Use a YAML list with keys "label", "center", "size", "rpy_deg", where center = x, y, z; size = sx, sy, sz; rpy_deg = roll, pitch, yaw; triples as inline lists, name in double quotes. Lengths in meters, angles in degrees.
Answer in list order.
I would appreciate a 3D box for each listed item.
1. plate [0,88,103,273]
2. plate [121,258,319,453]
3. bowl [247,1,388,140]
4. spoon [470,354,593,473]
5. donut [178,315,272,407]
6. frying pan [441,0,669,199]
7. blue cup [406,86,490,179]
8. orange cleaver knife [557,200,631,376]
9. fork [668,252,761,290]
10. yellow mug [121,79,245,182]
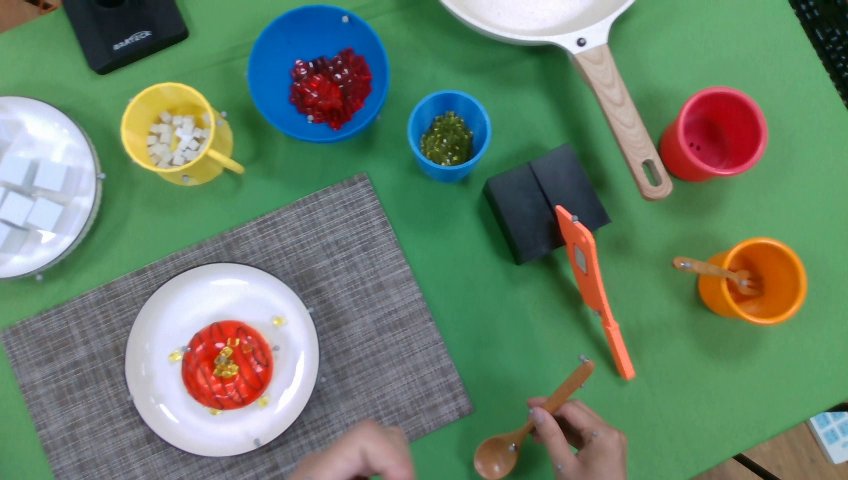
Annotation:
- label: "plate"
  center: [-0.461, -0.065, 0.681]
  size: [0.208, 0.039, 0.207]
  rpy_deg: [0, 84, -1]
- label: "plate"
  center: [-0.217, 0.123, 0.662]
  size: [0.209, 0.038, 0.208]
  rpy_deg: [0, 85, -1]
- label: "bowl"
  center: [-0.113, -0.177, 0.678]
  size: [0.151, 0.077, 0.151]
  rpy_deg: [0, 84, -1]
- label: "spoon"
  center: [0.105, 0.175, 0.601]
  size: [0.041, 0.021, 0.194]
  rpy_deg: [42, 126, 10]
- label: "donut"
  center: [-0.213, 0.130, 0.650]
  size: [0.099, 0.048, 0.099]
  rpy_deg: [0, 88, -2]
- label: "frying pan"
  center: [0.158, -0.266, 0.678]
  size: [0.307, 0.103, 0.485]
  rpy_deg: [-19, 77, -2]
- label: "blue cup"
  center: [0.025, -0.108, 0.661]
  size: [0.092, 0.100, 0.092]
  rpy_deg: [0, 82, 0]
- label: "orange cleaver knife"
  center: [0.183, 0.055, 0.658]
  size: [0.012, 0.076, 0.213]
  rpy_deg: [-25, 114, -3]
- label: "fork"
  center: [0.306, 0.031, 0.628]
  size: [0.209, 0.018, 0.028]
  rpy_deg: [12, 82, -43]
- label: "yellow mug"
  center: [-0.259, -0.113, 0.675]
  size: [0.131, 0.064, 0.100]
  rpy_deg: [28, 85, 1]
